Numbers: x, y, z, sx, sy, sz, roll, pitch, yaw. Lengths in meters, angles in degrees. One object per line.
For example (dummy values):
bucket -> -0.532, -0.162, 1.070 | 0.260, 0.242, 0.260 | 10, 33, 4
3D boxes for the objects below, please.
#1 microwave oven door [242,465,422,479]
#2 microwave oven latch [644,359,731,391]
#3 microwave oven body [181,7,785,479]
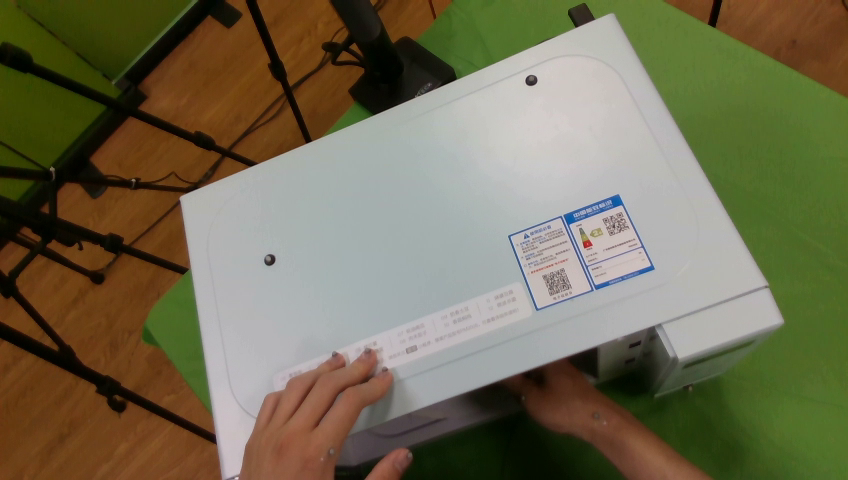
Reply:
microwave oven door -> 0.043, 0.245, 0.527 | 0.354, 0.246, 0.039 | 3, 72, 16
microwave oven latch -> 0.269, 0.130, 0.621 | 0.079, 0.030, 0.030 | -20, 66, 8
microwave oven body -> 0.037, 0.034, 0.614 | 0.441, 0.262, 0.323 | -22, 66, 8
